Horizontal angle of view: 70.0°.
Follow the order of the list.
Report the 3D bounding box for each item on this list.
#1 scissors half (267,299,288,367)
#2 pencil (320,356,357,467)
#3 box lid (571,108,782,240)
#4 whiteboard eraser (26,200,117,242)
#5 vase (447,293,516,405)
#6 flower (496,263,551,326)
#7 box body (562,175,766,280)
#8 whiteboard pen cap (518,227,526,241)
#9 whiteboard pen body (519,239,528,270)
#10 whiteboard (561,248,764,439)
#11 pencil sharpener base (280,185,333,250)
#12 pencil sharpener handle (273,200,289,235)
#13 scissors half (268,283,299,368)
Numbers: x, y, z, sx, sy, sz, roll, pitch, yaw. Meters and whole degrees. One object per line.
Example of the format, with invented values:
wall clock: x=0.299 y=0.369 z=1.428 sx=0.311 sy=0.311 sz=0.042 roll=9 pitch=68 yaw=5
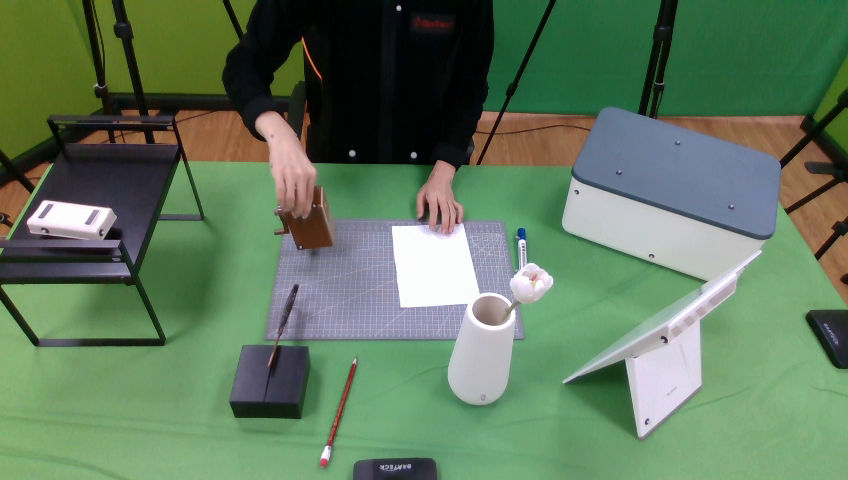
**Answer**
scissors half: x=-0.239 y=0.150 z=0.997 sx=0.013 sy=0.040 sz=0.174 roll=24 pitch=24 yaw=-13
pencil: x=-0.130 y=0.261 z=0.946 sx=0.012 sy=0.012 sz=0.193 roll=10 pitch=45 yaw=5
box lid: x=0.491 y=-0.139 z=1.168 sx=0.370 sy=0.015 sz=0.262 roll=21 pitch=49 yaw=15
whiteboard eraser: x=-0.532 y=-0.026 z=0.919 sx=0.113 sy=0.042 sz=0.055 roll=7 pitch=45 yaw=3
vase: x=0.091 y=0.169 z=0.921 sx=0.098 sy=0.201 sz=0.097 roll=3 pitch=47 yaw=-3
flower: x=0.102 y=0.121 z=0.853 sx=0.044 sy=0.363 sz=0.038 roll=-2 pitch=64 yaw=-10
box body: x=0.486 y=-0.088 z=1.222 sx=0.363 sy=0.161 sz=0.253 roll=20 pitch=48 yaw=15
whiteboard pen cap: x=0.197 y=-0.009 z=1.220 sx=0.018 sy=0.018 sz=0.033 roll=5 pitch=50 yaw=1
whiteboard pen body: x=0.193 y=0.035 z=1.181 sx=0.017 sy=0.017 sz=0.140 roll=6 pitch=48 yaw=1
whiteboard: x=0.386 y=0.176 z=0.905 sx=0.217 sy=0.306 sz=0.143 roll=-26 pitch=72 yaw=-27
pencil sharpener base: x=-0.213 y=-0.039 z=1.105 sx=0.077 sy=0.107 sz=0.061 roll=-8 pitch=47 yaw=0
pencil sharpener handle: x=-0.264 y=-0.038 z=1.094 sx=0.030 sy=0.068 sz=0.036 roll=-8 pitch=36 yaw=0
scissors half: x=-0.230 y=0.135 z=0.986 sx=0.013 sy=0.040 sz=0.174 roll=19 pitch=43 yaw=-11
